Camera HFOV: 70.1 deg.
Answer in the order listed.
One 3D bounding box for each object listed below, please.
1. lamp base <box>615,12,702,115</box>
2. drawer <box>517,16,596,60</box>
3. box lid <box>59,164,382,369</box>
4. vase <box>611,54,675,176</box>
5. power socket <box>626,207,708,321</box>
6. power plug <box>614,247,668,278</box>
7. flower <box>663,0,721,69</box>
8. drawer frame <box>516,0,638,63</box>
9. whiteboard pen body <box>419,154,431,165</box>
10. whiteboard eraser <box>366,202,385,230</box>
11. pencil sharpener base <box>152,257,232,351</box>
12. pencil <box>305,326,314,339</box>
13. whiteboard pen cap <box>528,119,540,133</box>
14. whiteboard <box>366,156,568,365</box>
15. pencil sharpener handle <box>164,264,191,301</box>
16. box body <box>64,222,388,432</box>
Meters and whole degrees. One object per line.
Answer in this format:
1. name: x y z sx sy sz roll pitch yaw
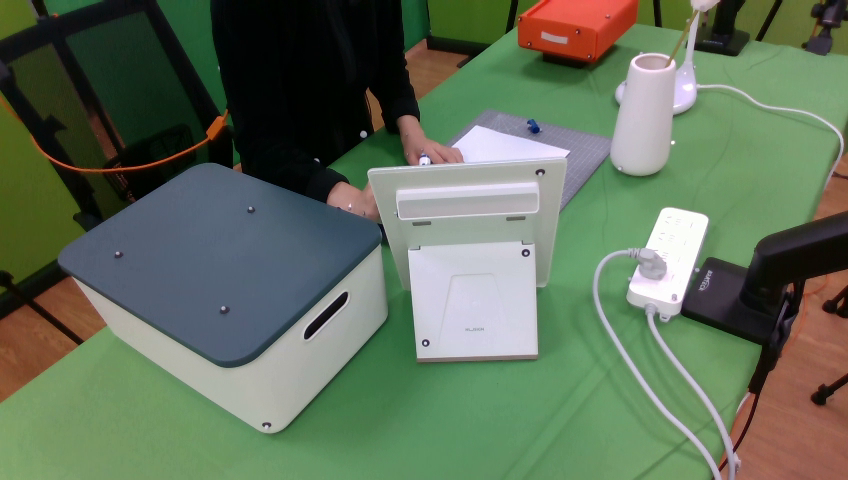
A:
1. lamp base: 0.484 -0.364 1.211 0.180 0.181 0.159 -15 41 -14
2. drawer: 0.353 -0.506 1.405 0.193 0.073 0.212 23 49 32
3. box lid: -0.263 0.010 0.777 0.368 0.015 0.264 20 47 29
4. vase: 0.377 -0.209 1.031 0.098 0.201 0.097 -3 40 3
5. power socket: 0.359 0.025 0.886 0.072 0.033 0.227 16 46 26
6. power plug: 0.306 0.031 0.851 0.072 0.053 0.035 24 49 33
7. flower: 0.379 -0.261 0.965 0.044 0.362 0.038 20 53 5
8. drawer frame: 0.355 -0.508 1.410 0.200 0.083 0.214 23 51 32
9. whiteboard pen body: 0.000 -0.057 0.823 0.017 0.017 0.140 -1 61 6
10. whiteboard eraser: -0.038 -0.038 1.006 0.112 0.042 0.055 16 47 25
11. pencil sharpener base: -0.322 0.088 0.841 0.061 0.107 0.076 -27 44 -20
12. pencil: -0.187 0.106 0.880 0.012 0.012 0.192 -27 41 -22
13. whiteboard pen cap: 0.221 -0.229 1.211 0.018 0.018 0.033 -13 40 -7
14. whiteboard: 0.059 0.050 0.738 0.217 0.307 0.143 -2 60 6
15. pencil sharpener handle: -0.354 0.055 0.866 0.036 0.068 0.030 -17 39 -29
16. box body: -0.256 0.065 0.827 0.361 0.161 0.255 20 48 29
